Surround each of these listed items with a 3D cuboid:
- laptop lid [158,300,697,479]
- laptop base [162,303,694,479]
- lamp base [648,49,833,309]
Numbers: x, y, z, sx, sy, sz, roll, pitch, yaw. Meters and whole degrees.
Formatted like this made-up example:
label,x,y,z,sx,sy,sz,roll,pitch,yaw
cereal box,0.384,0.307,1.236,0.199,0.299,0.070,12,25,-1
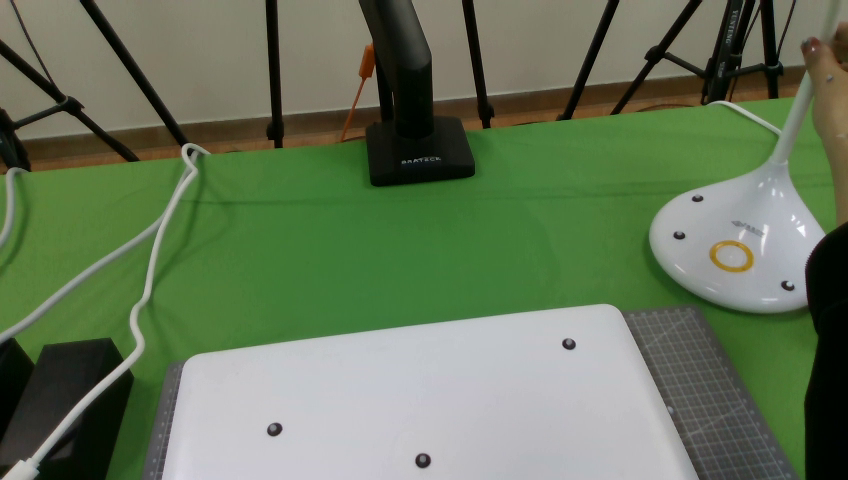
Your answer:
label,x,y,z,sx,sy,sz,roll,pitch,yaw
laptop lid,-0.001,0.148,0.409,0.357,0.013,0.239,-5,45,-3
laptop base,-0.001,0.155,0.419,0.355,0.023,0.233,-6,46,-4
lamp base,0.296,-0.062,0.524,0.159,0.182,0.178,21,45,24
